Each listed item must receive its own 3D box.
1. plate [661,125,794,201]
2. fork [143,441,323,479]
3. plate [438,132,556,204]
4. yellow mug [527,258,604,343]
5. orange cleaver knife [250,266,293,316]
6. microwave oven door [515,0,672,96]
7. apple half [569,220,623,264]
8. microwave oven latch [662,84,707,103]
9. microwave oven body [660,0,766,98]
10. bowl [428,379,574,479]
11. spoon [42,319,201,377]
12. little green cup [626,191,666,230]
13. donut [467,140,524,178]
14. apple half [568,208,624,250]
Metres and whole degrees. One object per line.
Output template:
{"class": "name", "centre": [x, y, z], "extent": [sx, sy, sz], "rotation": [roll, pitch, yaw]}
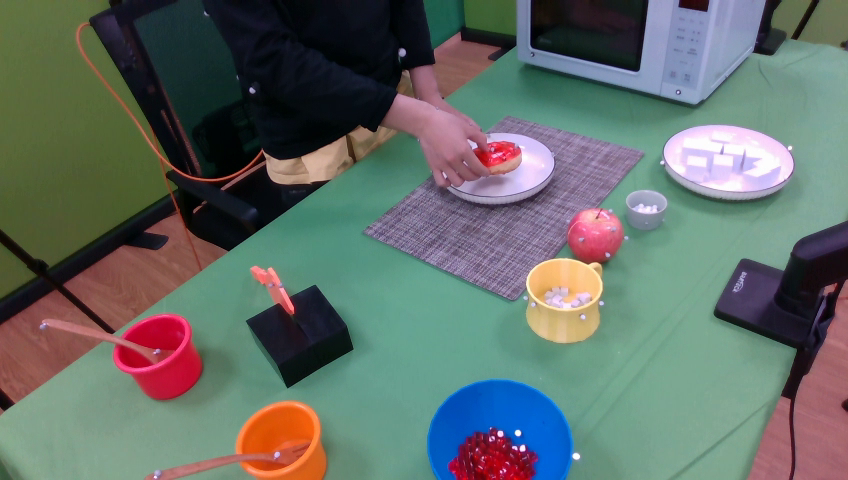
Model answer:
{"class": "plate", "centre": [0.513, -0.128, 1.035], "extent": [0.207, 0.039, 0.206], "rotation": [-4, 40, 4]}
{"class": "fork", "centre": [-0.189, 0.231, 0.631], "extent": [0.028, 0.018, 0.209], "rotation": [35, 13, 37]}
{"class": "plate", "centre": [0.130, -0.125, 1.084], "extent": [0.209, 0.038, 0.208], "rotation": [-4, 40, 4]}
{"class": "yellow mug", "centre": [0.201, 0.073, 0.825], "extent": [0.131, 0.064, 0.099], "rotation": [-32, 46, -27]}
{"class": "orange cleaver knife", "centre": [-0.221, 0.071, 0.873], "extent": [0.012, 0.077, 0.210], "rotation": [-25, 11, -21]}
{"class": "microwave oven door", "centre": [0.343, -0.454, 1.259], "extent": [0.353, 0.245, 0.039], "rotation": [26, 51, 33]}
{"class": "apple half", "centre": [0.251, 0.010, 0.884], "extent": [0.081, 0.081, 0.032], "rotation": [3, 37, 12]}
{"class": "microwave oven latch", "centre": [0.517, -0.296, 1.204], "extent": [0.078, 0.029, 0.030], "rotation": [27, 52, 35]}
{"class": "microwave oven body", "centre": [0.472, -0.513, 1.317], "extent": [0.438, 0.261, 0.327], "rotation": [26, 51, 34]}
{"class": "bowl", "centre": [0.082, 0.233, 0.644], "extent": [0.151, 0.077, 0.150], "rotation": [-4, 40, 4]}
{"class": "spoon", "centre": [-0.385, 0.135, 0.779], "extent": [0.195, 0.021, 0.041], "rotation": [29, 37, -26]}
{"class": "little green cup", "centre": [0.352, -0.046, 0.963], "extent": [0.061, 0.039, 0.061], "rotation": [-4, 40, 4]}
{"class": "donut", "centre": [0.123, -0.143, 1.045], "extent": [0.099, 0.048, 0.098], "rotation": [-11, 27, 6]}
{"class": "apple half", "centre": [0.259, -0.014, 0.914], "extent": [0.080, 0.075, 0.053], "rotation": [0, 36, 15]}
